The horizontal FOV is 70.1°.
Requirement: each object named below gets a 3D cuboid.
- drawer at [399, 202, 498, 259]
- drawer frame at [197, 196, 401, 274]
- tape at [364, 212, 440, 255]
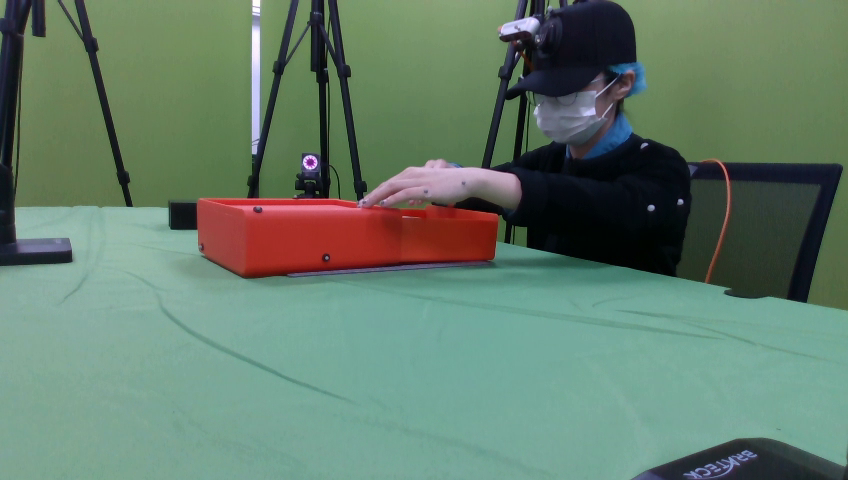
[{"bbox_3d":[-0.029,-0.018,0.917,0.213,0.073,0.193,-1,9,-34],"label":"drawer"},{"bbox_3d":[-0.171,-0.015,0.819,0.215,0.082,0.200,-4,10,-35],"label":"drawer frame"},{"bbox_3d":[-0.033,-0.011,0.913,0.117,0.052,0.117,4,6,0],"label":"tape"}]
